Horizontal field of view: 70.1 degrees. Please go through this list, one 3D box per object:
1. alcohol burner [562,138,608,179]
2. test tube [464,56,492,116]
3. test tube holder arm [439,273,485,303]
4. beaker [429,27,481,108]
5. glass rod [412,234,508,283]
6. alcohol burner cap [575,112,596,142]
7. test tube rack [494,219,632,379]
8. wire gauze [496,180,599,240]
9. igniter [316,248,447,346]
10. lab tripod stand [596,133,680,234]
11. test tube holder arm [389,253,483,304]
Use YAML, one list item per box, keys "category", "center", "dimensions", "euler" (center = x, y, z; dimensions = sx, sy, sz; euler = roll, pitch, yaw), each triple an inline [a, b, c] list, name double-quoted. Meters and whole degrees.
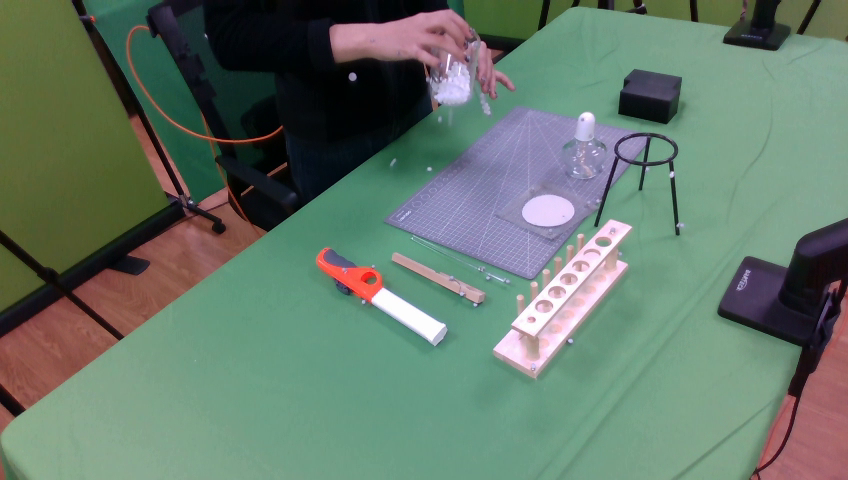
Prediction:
- category: "alcohol burner"
  center: [0.280, -0.167, 1.052]
  dimensions: [0.078, 0.119, 0.077]
  euler: [-5, 39, 4]
- category: "test tube"
  center: [0.096, -0.263, 1.050]
  dimensions: [0.017, 0.151, 0.017]
  euler: [-8, 62, 16]
- category: "test tube holder arm"
  center: [0.053, 0.071, 0.896]
  dimensions: [0.087, 0.015, 0.010]
  euler: [24, 15, 34]
- category: "beaker"
  center: [0.048, -0.263, 0.939]
  dimensions: [0.073, 0.084, 0.100]
  euler: [1, 74, 25]
- category: "glass rod"
  center: [0.052, 0.027, 0.951]
  dimensions: [0.198, 0.008, 0.008]
  euler: [26, 52, 37]
- category: "alcohol burner cap"
  center: [0.277, -0.194, 1.028]
  dimensions: [0.034, 0.048, 0.033]
  euler: [-2, 45, 3]
- category: "test tube rack"
  center: [0.191, 0.068, 0.818]
  dimensions: [0.066, 0.085, 0.243]
  euler: [25, 51, 35]
- category: "wire gauze"
  center: [0.207, -0.050, 1.012]
  dimensions: [0.125, 0.011, 0.120]
  euler: [-34, 45, -26]
- category: "igniter"
  center: [-0.074, 0.078, 0.901]
  dimensions: [0.274, 0.025, 0.057]
  euler: [29, 63, 36]
- category: "lab tripod stand"
  center: [0.338, -0.091, 0.940]
  dimensions: [0.148, 0.132, 0.147]
  euler: [-7, 39, 6]
- category: "test tube holder arm"
  center: [0.015, 0.056, 0.916]
  dimensions: [0.177, 0.015, 0.013]
  euler: [24, 15, 33]
